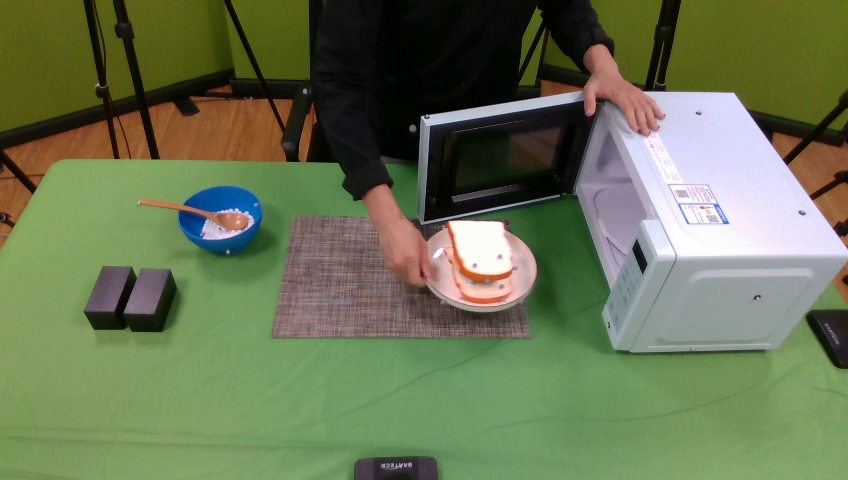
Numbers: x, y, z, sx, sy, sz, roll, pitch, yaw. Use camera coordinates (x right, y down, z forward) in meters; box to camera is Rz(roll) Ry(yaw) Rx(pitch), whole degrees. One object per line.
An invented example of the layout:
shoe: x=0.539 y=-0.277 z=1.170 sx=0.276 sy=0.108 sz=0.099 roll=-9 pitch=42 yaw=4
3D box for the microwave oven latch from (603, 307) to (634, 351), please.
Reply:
microwave oven latch: x=0.332 y=0.153 z=1.044 sx=0.030 sy=0.029 sz=0.078 roll=0 pitch=45 yaw=-3

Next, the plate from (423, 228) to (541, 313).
plate: x=0.101 y=0.052 z=1.077 sx=0.208 sy=0.039 sz=0.206 roll=2 pitch=44 yaw=-2

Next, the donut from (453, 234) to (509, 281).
donut: x=0.100 y=0.031 z=1.058 sx=0.099 sy=0.048 sz=0.098 roll=1 pitch=44 yaw=-1

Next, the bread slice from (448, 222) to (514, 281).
bread slice: x=0.103 y=0.016 z=1.032 sx=0.105 sy=0.019 sz=0.130 roll=0 pitch=46 yaw=-13

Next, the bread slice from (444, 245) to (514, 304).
bread slice: x=0.104 y=0.055 z=1.071 sx=0.107 sy=0.018 sz=0.133 roll=-9 pitch=48 yaw=-10

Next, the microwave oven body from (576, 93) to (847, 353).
microwave oven body: x=0.475 y=-0.041 z=1.109 sx=0.326 sy=0.261 sz=0.438 roll=-1 pitch=45 yaw=-4

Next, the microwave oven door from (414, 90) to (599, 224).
microwave oven door: x=0.158 y=-0.161 z=1.195 sx=0.356 sy=0.245 sz=0.039 roll=-12 pitch=48 yaw=-16

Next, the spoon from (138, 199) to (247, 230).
spoon: x=-0.431 y=-0.053 z=1.135 sx=0.194 sy=0.022 sz=0.041 roll=15 pitch=47 yaw=-20

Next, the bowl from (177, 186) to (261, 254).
bowl: x=-0.383 y=-0.026 z=1.158 sx=0.151 sy=0.077 sz=0.150 roll=2 pitch=46 yaw=-2
